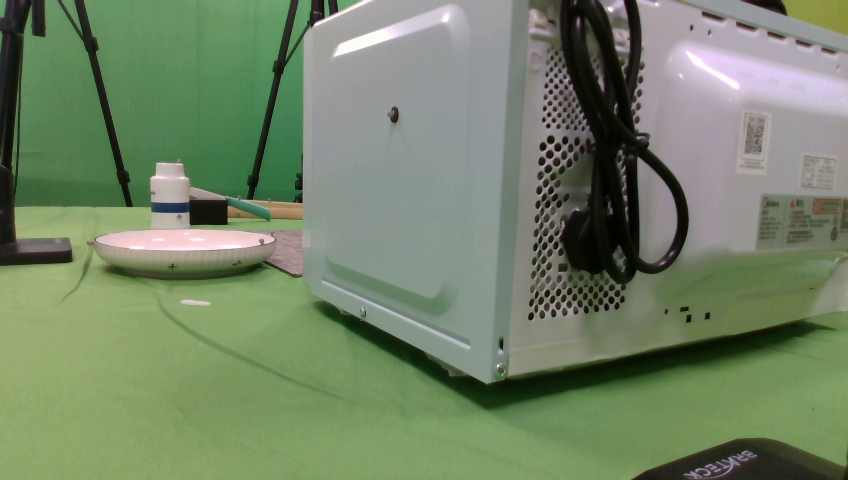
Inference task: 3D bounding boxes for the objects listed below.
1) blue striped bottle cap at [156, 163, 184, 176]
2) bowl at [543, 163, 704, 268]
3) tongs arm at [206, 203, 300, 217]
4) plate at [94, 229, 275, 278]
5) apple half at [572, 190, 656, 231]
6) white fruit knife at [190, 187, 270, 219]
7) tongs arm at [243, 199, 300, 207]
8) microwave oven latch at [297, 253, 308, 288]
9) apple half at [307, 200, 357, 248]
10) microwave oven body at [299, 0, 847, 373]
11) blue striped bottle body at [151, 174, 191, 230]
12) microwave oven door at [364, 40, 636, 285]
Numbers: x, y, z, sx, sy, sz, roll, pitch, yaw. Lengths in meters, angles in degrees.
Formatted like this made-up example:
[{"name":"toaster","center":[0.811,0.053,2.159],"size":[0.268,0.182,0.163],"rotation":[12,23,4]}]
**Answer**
[{"name":"blue striped bottle cap","center":[-0.438,-0.122,1.045],"size":[0.044,0.020,0.044],"rotation":[5,6,0]},{"name":"bowl","center":[0.181,-0.021,0.584],"size":[0.151,0.077,0.151],"rotation":[12,7,-1]},{"name":"tongs arm","center":[-0.302,-0.067,1.406],"size":[0.389,0.028,0.028],"rotation":[1,3,-15]},{"name":"plate","center":[-0.291,0.016,0.749],"size":[0.208,0.039,0.207],"rotation":[2,7,0]},{"name":"apple half","center":[0.182,-0.031,0.582],"size":[0.081,0.033,0.081],"rotation":[13,-3,1]},{"name":"white fruit knife","center":[-0.413,-0.081,1.269],"size":[0.208,0.027,0.016],"rotation":[17,13,-41]},{"name":"tongs arm","center":[-0.309,-0.078,1.486],"size":[0.385,0.026,0.051],"rotation":[3,6,-2]},{"name":"microwave oven latch","center":[-0.081,0.028,0.577],"size":[0.079,0.029,0.030],"rotation":[0,7,-22]},{"name":"apple half","center":[-0.136,-0.024,0.942],"size":[0.053,0.074,0.081],"rotation":[15,10,38]},{"name":"microwave oven body","center":[0.152,-0.055,0.542],"size":[0.444,0.260,0.324],"rotation":[-2,7,-33]},{"name":"blue striped bottle body","center":[-0.439,-0.071,1.052],"size":[0.063,0.120,0.063],"rotation":[2,8,0]},{"name":"microwave oven door","center":[0.105,-0.081,0.694],"size":[0.358,0.243,0.039],"rotation":[-2,8,-30]}]
